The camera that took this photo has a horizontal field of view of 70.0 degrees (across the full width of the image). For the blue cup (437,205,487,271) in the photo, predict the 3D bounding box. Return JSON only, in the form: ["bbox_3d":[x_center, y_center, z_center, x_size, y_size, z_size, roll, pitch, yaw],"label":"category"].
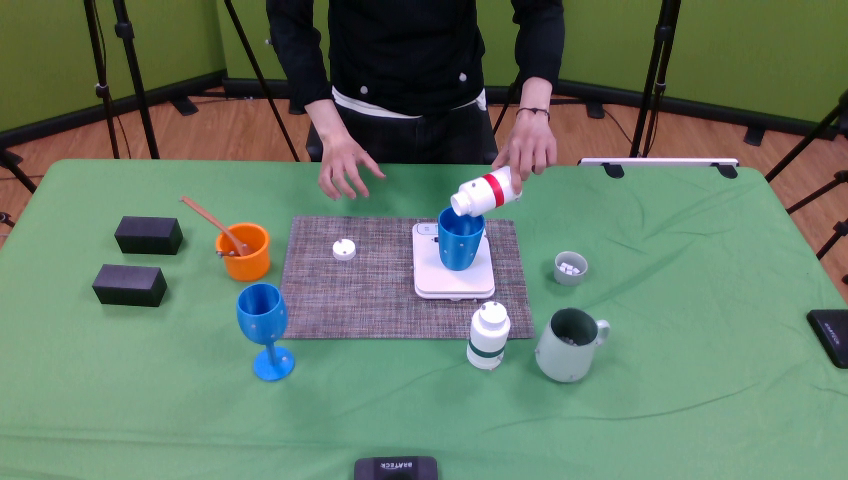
[{"bbox_3d":[0.063,0.001,1.098,0.093,0.101,0.092,2,44,-2],"label":"blue cup"}]

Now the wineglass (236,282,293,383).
[{"bbox_3d":[-0.243,0.143,0.934,0.074,0.173,0.073,2,46,-2],"label":"wineglass"}]

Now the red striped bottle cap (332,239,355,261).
[{"bbox_3d":[-0.155,0.018,1.166,0.044,0.018,0.044,-1,48,1],"label":"red striped bottle cap"}]

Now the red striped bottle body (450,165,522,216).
[{"bbox_3d":[0.106,-0.084,1.064,0.120,0.063,0.062,-24,52,-17],"label":"red striped bottle body"}]

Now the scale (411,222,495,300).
[{"bbox_3d":[0.052,0.031,1.158,0.149,0.032,0.199,1,46,-4],"label":"scale"}]

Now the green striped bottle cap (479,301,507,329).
[{"bbox_3d":[0.109,0.118,0.950,0.044,0.020,0.044,2,47,-2],"label":"green striped bottle cap"}]

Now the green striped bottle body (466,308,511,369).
[{"bbox_3d":[0.106,0.154,0.988,0.063,0.120,0.063,2,46,-2],"label":"green striped bottle body"}]

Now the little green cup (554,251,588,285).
[{"bbox_3d":[0.276,0.055,1.151,0.061,0.039,0.061,1,46,-1],"label":"little green cup"}]

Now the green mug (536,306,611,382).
[{"bbox_3d":[0.250,0.167,0.996,0.125,0.105,0.092,-15,49,-19],"label":"green mug"}]

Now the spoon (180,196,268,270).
[{"bbox_3d":[-0.360,-0.014,1.094,0.021,0.194,0.041,-27,27,32],"label":"spoon"}]

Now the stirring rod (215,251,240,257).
[{"bbox_3d":[-0.339,0.024,1.059,0.014,0.176,0.006,16,86,-6],"label":"stirring rod"}]
